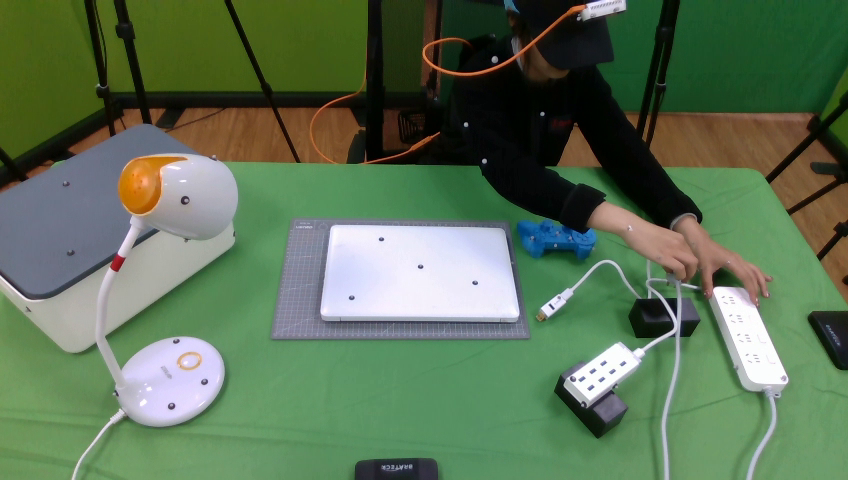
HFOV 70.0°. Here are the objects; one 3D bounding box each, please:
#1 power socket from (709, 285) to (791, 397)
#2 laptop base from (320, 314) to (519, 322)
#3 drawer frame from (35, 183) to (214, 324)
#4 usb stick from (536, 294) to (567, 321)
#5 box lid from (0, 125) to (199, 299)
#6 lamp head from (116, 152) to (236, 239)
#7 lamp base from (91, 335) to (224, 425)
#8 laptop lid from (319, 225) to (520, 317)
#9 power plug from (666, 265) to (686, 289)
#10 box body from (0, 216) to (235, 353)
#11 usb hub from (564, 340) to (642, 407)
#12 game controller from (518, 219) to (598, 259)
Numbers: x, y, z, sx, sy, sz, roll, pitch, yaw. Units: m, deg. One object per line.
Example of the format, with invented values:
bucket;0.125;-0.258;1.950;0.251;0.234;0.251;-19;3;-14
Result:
power socket;0.568;0.167;1.064;0.072;0.033;0.225;2;46;-1
laptop base;-0.009;0.062;1.138;0.354;0.023;0.234;1;42;-3
drawer frame;-0.531;0.018;1.092;0.201;0.083;0.213;29;52;21
usb stick;0.226;0.123;1.083;0.059;0.027;0.021;-38;75;-7
box lid;-0.540;-0.068;1.016;0.262;0.015;0.371;30;51;23
lamp head;-0.315;-0.057;0.748;0.112;0.112;0.123;26;10;20
lamp base;-0.401;0.170;0.892;0.160;0.181;0.179;30;53;23
laptop lid;-0.008;0.052;1.131;0.357;0.013;0.240;2;44;-2
power plug;0.455;0.074;1.110;0.035;0.053;0.072;30;53;26
box body;-0.550;-0.007;1.068;0.253;0.161;0.363;30;51;23
usb hub;0.280;0.206;0.944;0.125;0.025;0.049;-26;52;-27
game controller;0.270;-0.012;1.210;0.155;0.052;0.096;1;50;-2
